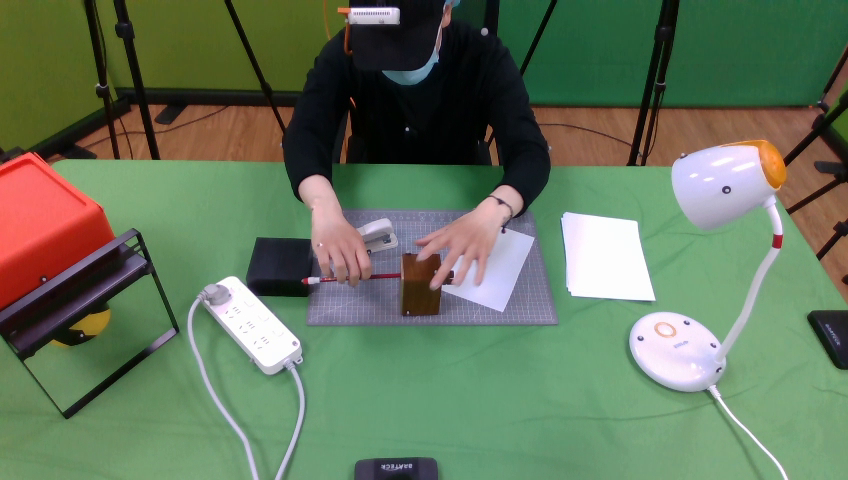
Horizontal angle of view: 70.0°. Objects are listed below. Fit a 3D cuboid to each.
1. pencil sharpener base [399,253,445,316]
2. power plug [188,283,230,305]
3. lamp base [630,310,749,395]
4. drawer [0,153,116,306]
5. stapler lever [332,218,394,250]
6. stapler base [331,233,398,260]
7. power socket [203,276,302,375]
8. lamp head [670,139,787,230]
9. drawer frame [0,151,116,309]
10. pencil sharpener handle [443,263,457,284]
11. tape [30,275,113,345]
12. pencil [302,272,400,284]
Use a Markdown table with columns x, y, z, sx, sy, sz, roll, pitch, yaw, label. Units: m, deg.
| x | y | z | sx | sy | sz | roll | pitch | yaw | label |
| --- | --- | --- | --- | --- | --- | --- | --- | --- | --- |
| -0.005 | 0.078 | 1.060 | 0.077 | 0.107 | 0.061 | -1 | 46 | -5 | pencil sharpener base |
| -0.368 | 0.099 | 1.036 | 0.072 | 0.053 | 0.035 | -23 | 52 | -26 | power plug |
| 0.447 | 0.142 | 0.984 | 0.161 | 0.181 | 0.178 | -24 | 55 | -24 | lamp base |
| -0.601 | -0.015 | 0.880 | 0.193 | 0.073 | 0.211 | 32 | 53 | 23 | drawer |
| -0.116 | -0.012 | 1.162 | 0.118 | 0.040 | 0.026 | -13 | 48 | -14 | stapler lever |
| -0.116 | 0.004 | 1.181 | 0.131 | 0.024 | 0.041 | -13 | 48 | -14 | stapler base |
| -0.297 | 0.141 | 1.034 | 0.072 | 0.033 | 0.225 | -34 | 58 | -30 | power socket |
| 0.415 | -0.079 | 0.812 | 0.113 | 0.123 | 0.112 | 13 | 70 | -37 | lamp head |
| -0.604 | -0.013 | 0.876 | 0.201 | 0.083 | 0.213 | 31 | 52 | 23 | drawer frame |
| 0.047 | 0.063 | 1.059 | 0.031 | 0.068 | 0.036 | -1 | 70 | -5 | pencil sharpener handle |
| -0.593 | 0.117 | 1.021 | 0.117 | 0.053 | 0.116 | 2 | 46 | -2 | tape |
| -0.112 | 0.063 | 1.039 | 0.194 | 0.012 | 0.012 | -4 | 46 | 1 | pencil |
